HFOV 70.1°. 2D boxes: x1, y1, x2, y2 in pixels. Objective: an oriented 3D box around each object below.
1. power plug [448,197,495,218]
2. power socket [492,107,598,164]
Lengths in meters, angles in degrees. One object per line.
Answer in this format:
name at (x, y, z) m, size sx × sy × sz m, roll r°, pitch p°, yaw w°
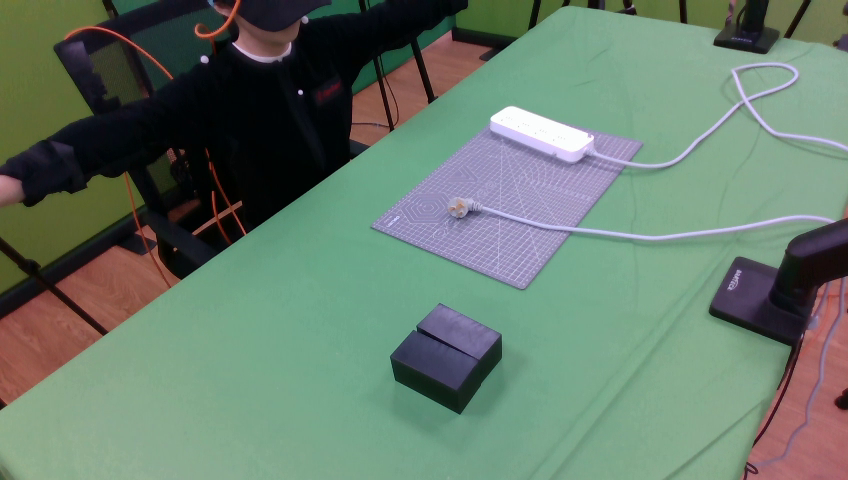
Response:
power plug at (0.076, -0.055, 1.010) m, size 0.072 × 0.035 × 0.053 m, roll 0°, pitch 23°, yaw 27°
power socket at (0.227, -0.205, 1.170) m, size 0.072 × 0.033 × 0.225 m, roll -36°, pitch 48°, yaw -28°
